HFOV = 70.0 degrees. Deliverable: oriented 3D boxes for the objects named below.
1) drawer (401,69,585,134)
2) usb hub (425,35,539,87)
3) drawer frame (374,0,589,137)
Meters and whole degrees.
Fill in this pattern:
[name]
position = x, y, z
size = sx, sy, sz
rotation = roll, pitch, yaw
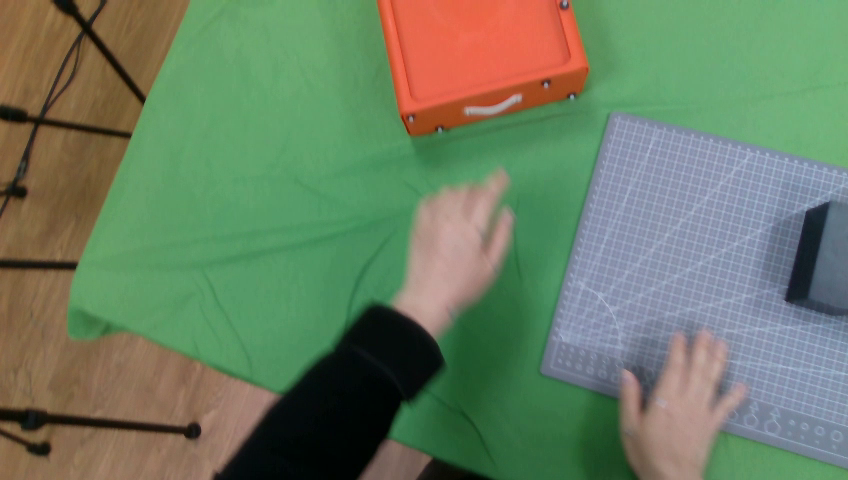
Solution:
[drawer]
position = 0.053, -0.242, 0.667
size = 0.194, 0.073, 0.211
rotation = -13, 81, 5
[usb hub]
position = 0.064, -0.199, 0.675
size = 0.125, 0.025, 0.049
rotation = 2, 83, 12
[drawer frame]
position = 0.052, -0.243, 0.667
size = 0.201, 0.083, 0.212
rotation = -14, 80, 5
